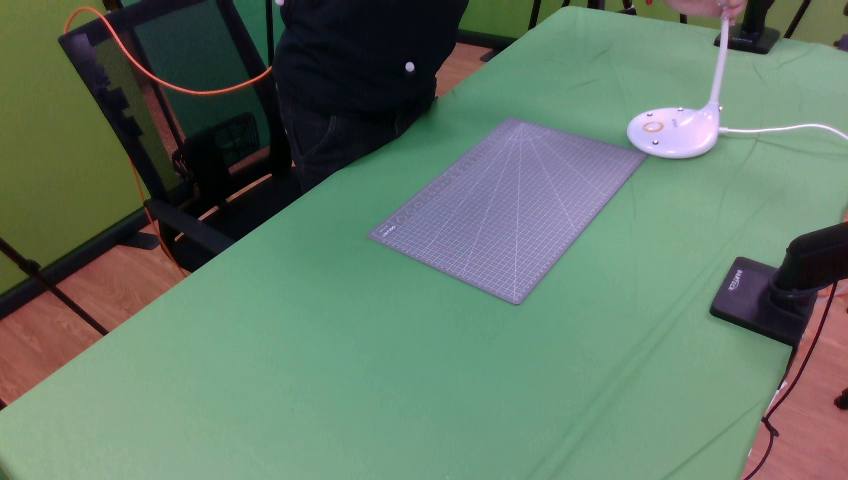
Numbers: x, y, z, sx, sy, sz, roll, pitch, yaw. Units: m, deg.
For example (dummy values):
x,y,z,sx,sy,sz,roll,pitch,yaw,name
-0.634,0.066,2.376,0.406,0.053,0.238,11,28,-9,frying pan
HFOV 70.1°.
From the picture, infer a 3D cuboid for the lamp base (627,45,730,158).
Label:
x,y,z,sx,sy,sz,roll,pitch,yaw,name
0.469,-0.262,1.086,0.179,0.181,0.159,-4,41,-1,lamp base
